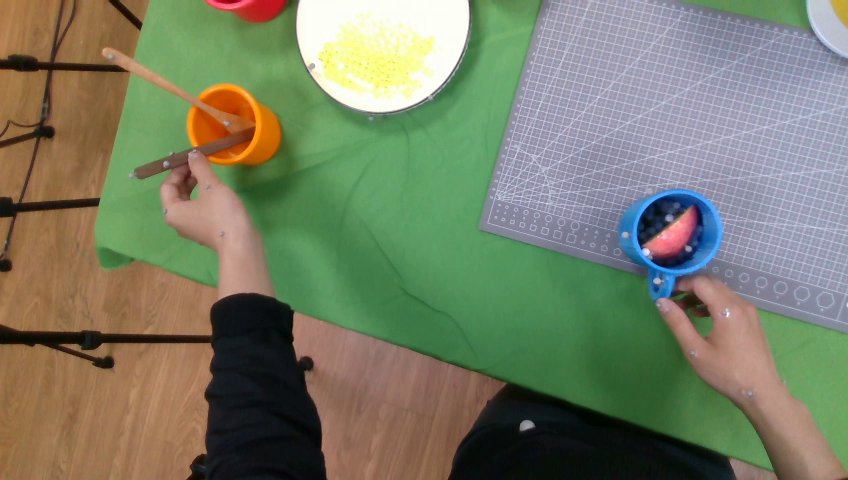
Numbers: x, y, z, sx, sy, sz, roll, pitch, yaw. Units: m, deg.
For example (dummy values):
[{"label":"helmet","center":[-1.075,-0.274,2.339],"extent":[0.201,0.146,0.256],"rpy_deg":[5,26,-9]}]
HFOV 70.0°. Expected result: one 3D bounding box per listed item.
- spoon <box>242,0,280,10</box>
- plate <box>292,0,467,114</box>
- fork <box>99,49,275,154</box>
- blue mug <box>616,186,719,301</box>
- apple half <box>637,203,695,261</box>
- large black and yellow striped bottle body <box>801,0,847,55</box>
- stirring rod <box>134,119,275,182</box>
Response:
[{"label":"spoon","center":[-0.257,-0.320,0.691],"extent":[0.195,0.021,0.041],"rpy_deg":[19,95,-35]},{"label":"plate","center":[-0.051,-0.250,0.710],"extent":[0.209,0.038,0.209],"rpy_deg":[0,92,11]},{"label":"fork","center":[-0.266,-0.156,0.695],"extent":[0.209,0.018,0.028],"rpy_deg":[29,95,-35]},{"label":"blue mug","center":[0.246,0.005,0.630],"extent":[0.082,0.106,0.116],"rpy_deg":[6,93,11]},{"label":"apple half","center":[0.253,-0.003,0.623],"extent":[0.081,0.081,0.032],"rpy_deg":[-40,77,9]},{"label":"large black and yellow striped bottle body","center":[0.446,-0.255,0.546],"extent":[0.130,0.184,0.130],"rpy_deg":[0,89,10]},{"label":"stirring rod","center":[-0.248,-0.106,0.698],"extent":[0.176,0.006,0.014],"rpy_deg":[-32,87,-34]}]
